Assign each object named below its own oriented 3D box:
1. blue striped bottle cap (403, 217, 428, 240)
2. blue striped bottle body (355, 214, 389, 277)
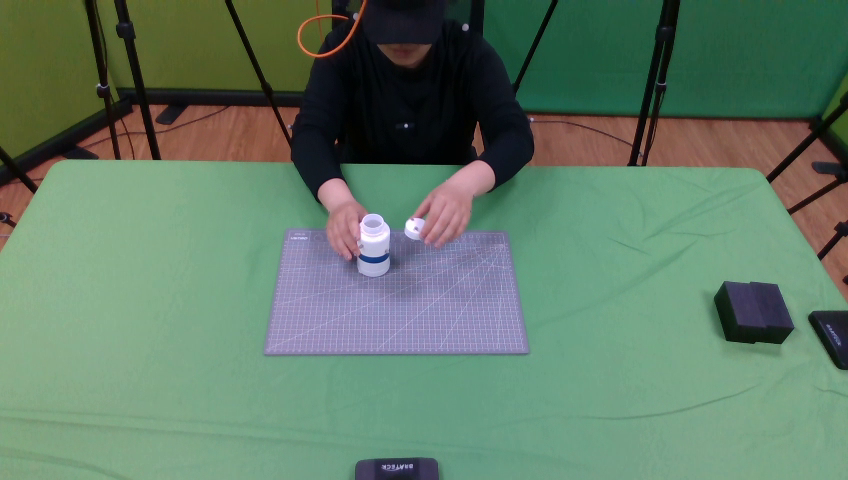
[{"bbox_3d":[-0.015,-0.020,1.095,0.044,0.021,0.044,8,42,-7],"label":"blue striped bottle cap"},{"bbox_3d":[-0.095,0.007,1.112,0.063,0.121,0.062,2,46,-2],"label":"blue striped bottle body"}]
